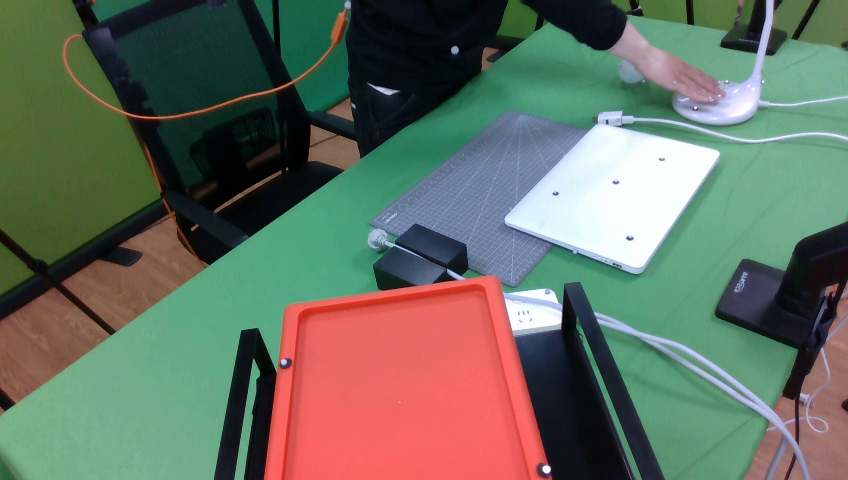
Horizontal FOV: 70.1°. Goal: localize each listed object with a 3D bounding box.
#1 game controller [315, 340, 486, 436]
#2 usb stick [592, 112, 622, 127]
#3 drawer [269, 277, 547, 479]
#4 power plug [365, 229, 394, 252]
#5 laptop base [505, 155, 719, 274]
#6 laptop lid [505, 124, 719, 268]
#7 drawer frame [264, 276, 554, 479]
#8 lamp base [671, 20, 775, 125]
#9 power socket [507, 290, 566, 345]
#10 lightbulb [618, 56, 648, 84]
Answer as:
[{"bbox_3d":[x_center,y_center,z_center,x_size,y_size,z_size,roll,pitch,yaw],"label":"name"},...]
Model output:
[{"bbox_3d":[-0.021,0.119,0.534,0.155,0.052,0.096,-3,39,1],"label":"game controller"},{"bbox_3d":[0.360,-0.238,1.196,0.059,0.021,0.027,5,42,27],"label":"usb stick"},{"bbox_3d":[-0.018,0.137,0.493,0.195,0.073,0.210,-7,41,-1],"label":"drawer"},{"bbox_3d":[-0.067,0.010,0.954,0.035,0.053,0.072,-41,52,1],"label":"power plug"},{"bbox_3d":[0.326,-0.083,1.028,0.233,0.023,0.355,21,48,32],"label":"laptop base"},{"bbox_3d":[0.323,-0.093,1.021,0.240,0.013,0.358,23,49,32],"label":"laptop lid"},{"bbox_3d":[-0.016,0.137,0.490,0.202,0.083,0.212,-8,41,-1],"label":"drawer frame"},{"bbox_3d":[0.582,-0.332,1.153,0.179,0.181,0.160,2,42,7],"label":"lamp base"},{"bbox_3d":[0.081,0.112,0.822,0.227,0.033,0.072,-6,41,0],"label":"power socket"},{"bbox_3d":[0.464,-0.376,1.324,0.059,0.059,0.108,22,34,30],"label":"lightbulb"}]
